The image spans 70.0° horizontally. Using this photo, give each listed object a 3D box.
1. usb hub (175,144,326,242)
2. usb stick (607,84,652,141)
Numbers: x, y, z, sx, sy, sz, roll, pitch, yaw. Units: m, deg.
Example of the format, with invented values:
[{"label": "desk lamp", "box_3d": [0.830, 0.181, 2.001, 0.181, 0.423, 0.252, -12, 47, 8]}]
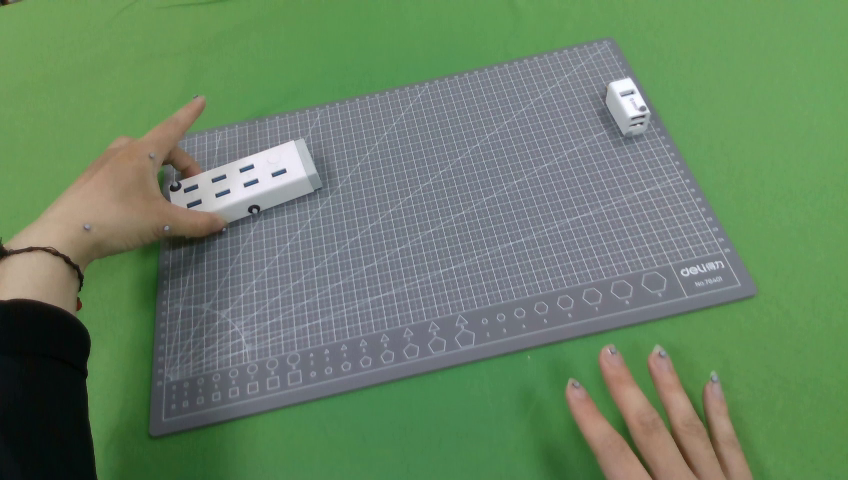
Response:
[{"label": "usb hub", "box_3d": [-0.154, -0.043, 0.537, 0.125, 0.025, 0.049, -20, 57, -6]}, {"label": "usb stick", "box_3d": [0.179, -0.118, 0.536, 0.021, 0.027, 0.058, -15, 53, 1]}]
